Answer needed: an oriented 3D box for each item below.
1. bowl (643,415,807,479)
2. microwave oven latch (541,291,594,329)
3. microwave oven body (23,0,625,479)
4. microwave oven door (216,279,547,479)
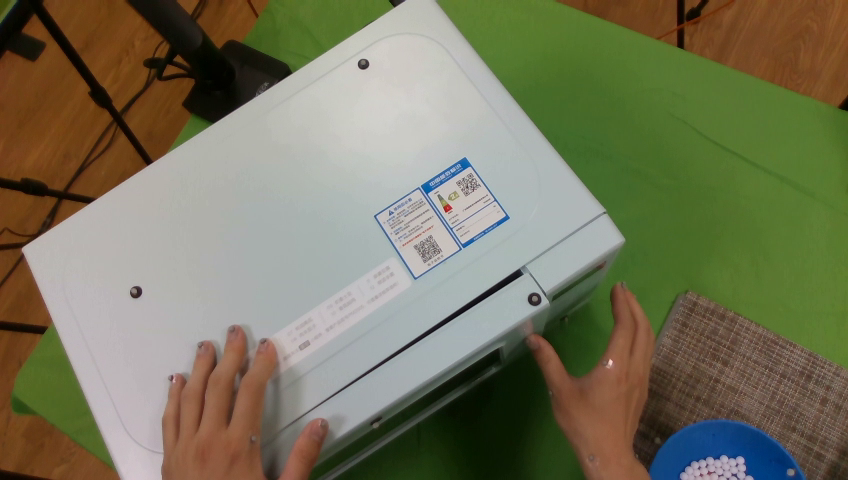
[{"bbox_3d":[0.288,0.252,0.601,0.151,0.077,0.150,-2,73,8],"label":"bowl"},{"bbox_3d":[0.153,0.070,0.680,0.079,0.030,0.030,-32,72,-2],"label":"microwave oven latch"},{"bbox_3d":[-0.088,0.025,0.626,0.442,0.262,0.323,-34,72,-2],"label":"microwave oven body"},{"bbox_3d":[-0.043,0.164,0.573,0.356,0.245,0.039,-33,71,-2],"label":"microwave oven door"}]
